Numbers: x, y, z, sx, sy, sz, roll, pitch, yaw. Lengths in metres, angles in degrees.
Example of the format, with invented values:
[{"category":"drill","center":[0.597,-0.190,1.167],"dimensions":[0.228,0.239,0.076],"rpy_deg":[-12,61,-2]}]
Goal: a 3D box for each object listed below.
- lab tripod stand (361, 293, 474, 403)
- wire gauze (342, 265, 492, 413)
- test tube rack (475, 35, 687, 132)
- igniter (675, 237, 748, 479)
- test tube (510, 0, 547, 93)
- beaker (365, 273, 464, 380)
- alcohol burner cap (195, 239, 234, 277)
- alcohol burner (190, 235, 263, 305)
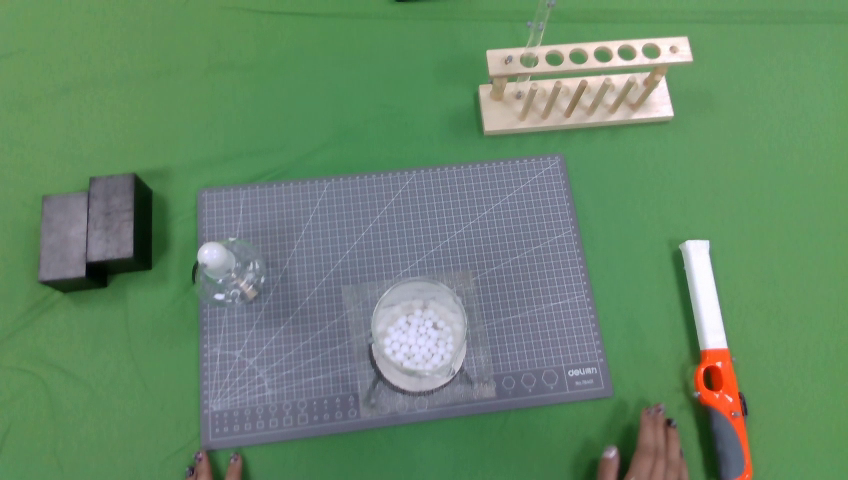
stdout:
[{"category":"lab tripod stand","center":[-0.012,0.111,0.617],"dimensions":[0.148,0.132,0.147],"rpy_deg":[0,72,0]},{"category":"wire gauze","center":[-0.008,0.088,0.555],"dimensions":[0.125,0.011,0.120],"rpy_deg":[-9,71,-2]},{"category":"test tube rack","center":[0.190,-0.191,0.746],"dimensions":[0.242,0.085,0.066],"rpy_deg":[-5,73,-4]},{"category":"igniter","center":[0.323,0.129,0.683],"dimensions":[0.057,0.025,0.275],"rpy_deg":[1,73,-12]},{"category":"test tube","center":[0.118,-0.219,0.699],"dimensions":[0.017,0.151,0.017],"rpy_deg":[1,68,-2]},{"category":"beaker","center":[-0.005,0.080,0.507],"dimensions":[0.074,0.101,0.083],"rpy_deg":[-29,75,-9]},{"category":"alcohol burner cap","center":[-0.212,0.016,0.610],"dimensions":[0.034,0.048,0.033],"rpy_deg":[2,74,-5]},{"category":"alcohol burner","center":[-0.215,0.027,0.644],"dimensions":[0.078,0.120,0.077],"rpy_deg":[0,71,-1]}]
